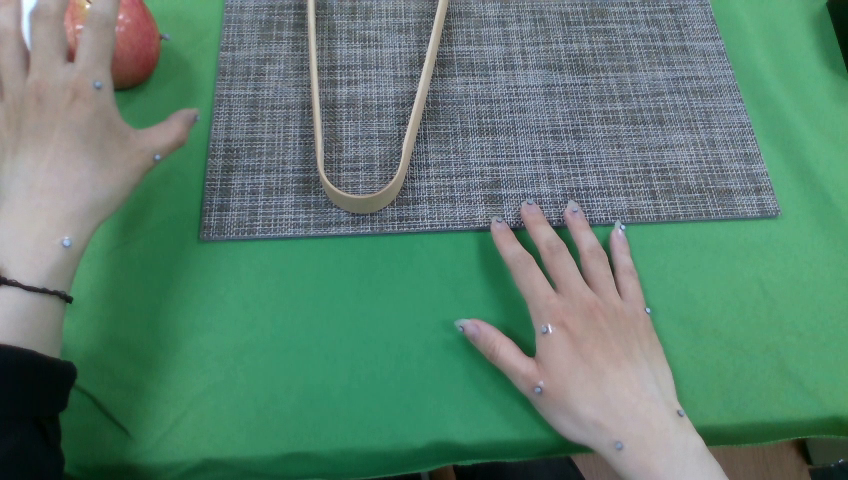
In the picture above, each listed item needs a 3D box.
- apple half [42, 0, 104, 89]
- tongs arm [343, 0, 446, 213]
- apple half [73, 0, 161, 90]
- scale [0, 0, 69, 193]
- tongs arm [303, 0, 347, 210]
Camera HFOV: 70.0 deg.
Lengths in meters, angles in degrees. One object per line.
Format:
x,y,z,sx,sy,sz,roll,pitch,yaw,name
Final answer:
-0.281,-0.156,0.482,0.033,0.082,0.080,-11,65,-11,apple half
-0.007,-0.195,0.532,0.051,0.027,0.382,9,66,1,tongs arm
-0.242,-0.164,0.489,0.053,0.075,0.080,-11,62,-10,apple half
-0.366,-0.126,0.488,0.149,0.032,0.199,-7,66,-5,scale
-0.092,-0.200,0.532,0.028,0.028,0.384,-3,65,-8,tongs arm
